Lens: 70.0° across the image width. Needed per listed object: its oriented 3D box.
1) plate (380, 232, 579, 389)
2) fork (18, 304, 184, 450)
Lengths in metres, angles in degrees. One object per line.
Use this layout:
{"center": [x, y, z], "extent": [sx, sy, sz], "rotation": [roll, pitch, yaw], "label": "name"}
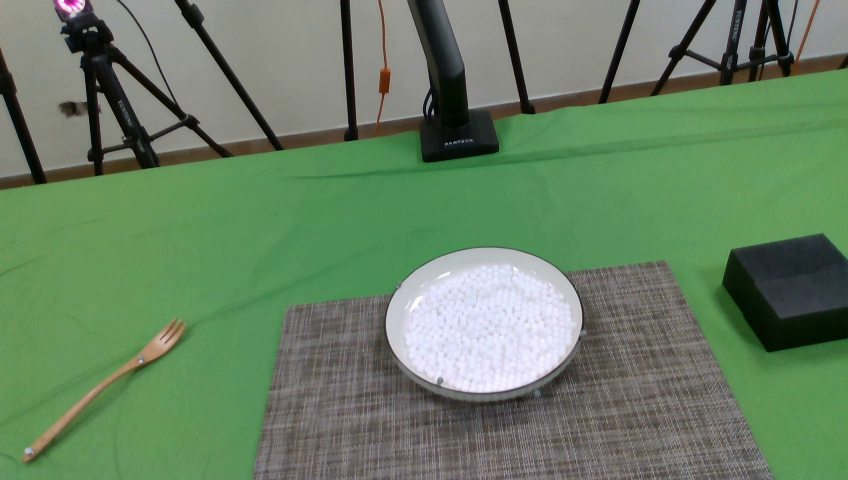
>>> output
{"center": [0.057, 0.073, 0.643], "extent": [0.209, 0.038, 0.207], "rotation": [-6, 42, 5], "label": "plate"}
{"center": [-0.346, 0.144, 0.661], "extent": [0.028, 0.019, 0.207], "rotation": [27, 51, 22], "label": "fork"}
